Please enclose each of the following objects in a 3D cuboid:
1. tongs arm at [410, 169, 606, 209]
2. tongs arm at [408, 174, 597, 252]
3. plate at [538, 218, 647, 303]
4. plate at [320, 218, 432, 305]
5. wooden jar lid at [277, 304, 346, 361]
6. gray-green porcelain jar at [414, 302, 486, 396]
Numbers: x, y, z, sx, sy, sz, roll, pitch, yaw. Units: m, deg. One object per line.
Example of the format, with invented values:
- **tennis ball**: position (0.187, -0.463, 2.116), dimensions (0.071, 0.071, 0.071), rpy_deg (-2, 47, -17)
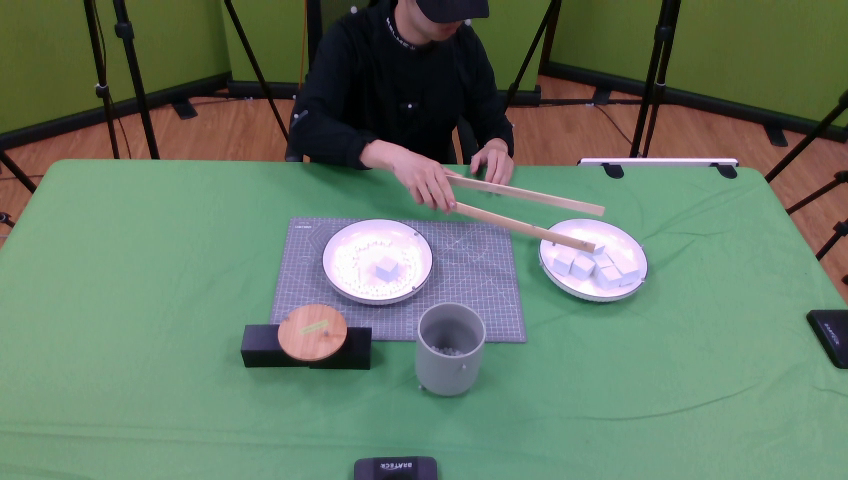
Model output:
- **tongs arm**: position (0.163, -0.100, 1.202), dimensions (0.387, 0.028, 0.028), rpy_deg (10, 53, 8)
- **tongs arm**: position (0.140, -0.054, 1.159), dimensions (0.384, 0.026, 0.050), rpy_deg (16, 51, 14)
- **plate**: position (0.322, 0.042, 1.171), dimensions (0.208, 0.039, 0.206), rpy_deg (2, 46, -2)
- **plate**: position (-0.089, 0.044, 1.134), dimensions (0.209, 0.038, 0.208), rpy_deg (3, 46, -2)
- **wooden jar lid**: position (-0.179, 0.150, 0.972), dimensions (0.108, 0.021, 0.107), rpy_deg (2, 45, -2)
- **gray-green porcelain jar**: position (0.038, 0.177, 0.958), dimensions (0.106, 0.127, 0.105), rpy_deg (2, 46, -2)
